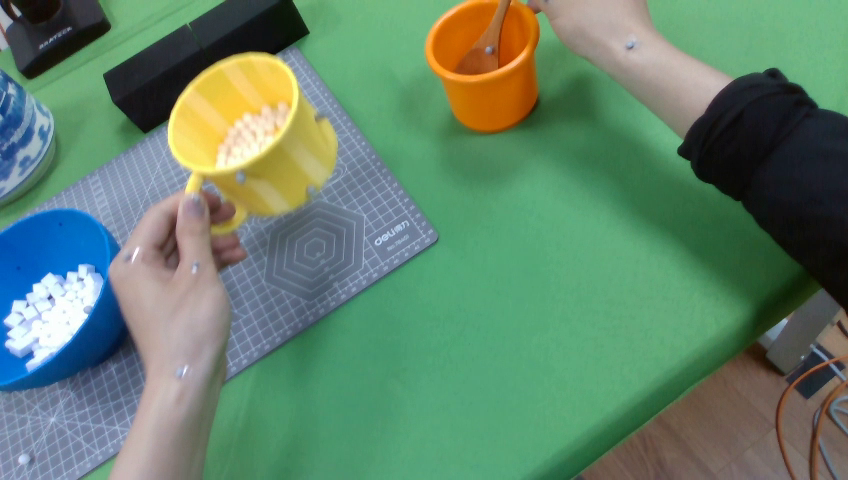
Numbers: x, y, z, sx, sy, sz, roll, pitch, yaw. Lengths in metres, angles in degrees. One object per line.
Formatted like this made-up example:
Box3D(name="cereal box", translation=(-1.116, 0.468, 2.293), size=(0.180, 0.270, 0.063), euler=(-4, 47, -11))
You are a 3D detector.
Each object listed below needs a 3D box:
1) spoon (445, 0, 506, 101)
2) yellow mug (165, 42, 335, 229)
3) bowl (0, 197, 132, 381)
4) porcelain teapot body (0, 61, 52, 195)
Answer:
Box3D(name="spoon", translation=(0.065, -0.195, 0.472), size=(0.041, 0.195, 0.021), euler=(37, 41, 13))
Box3D(name="yellow mug", translation=(-0.130, -0.068, 0.433), size=(0.099, 0.064, 0.130), euler=(17, 73, 23))
Box3D(name="bowl", translation=(-0.296, 0.049, 0.490), size=(0.151, 0.077, 0.150), euler=(-7, 61, 12))
Box3D(name="porcelain teapot body", translation=(-0.508, -0.131, 0.563), size=(0.205, 0.227, 0.143), euler=(-29, 59, 0))
